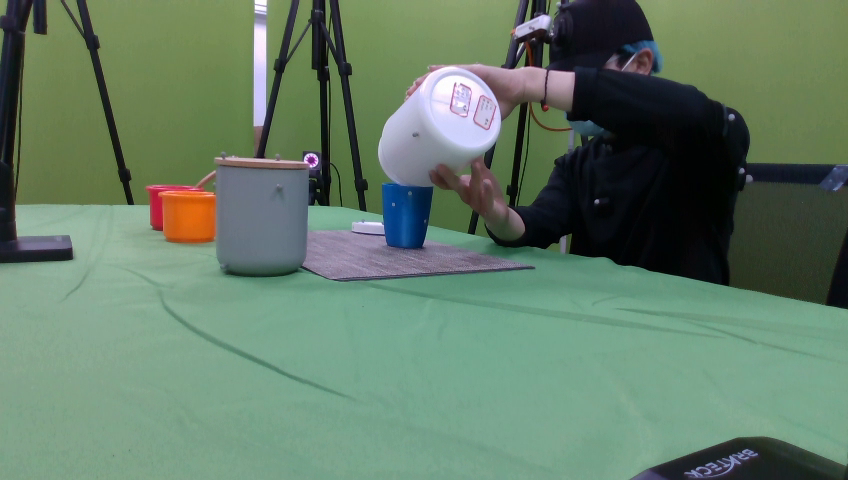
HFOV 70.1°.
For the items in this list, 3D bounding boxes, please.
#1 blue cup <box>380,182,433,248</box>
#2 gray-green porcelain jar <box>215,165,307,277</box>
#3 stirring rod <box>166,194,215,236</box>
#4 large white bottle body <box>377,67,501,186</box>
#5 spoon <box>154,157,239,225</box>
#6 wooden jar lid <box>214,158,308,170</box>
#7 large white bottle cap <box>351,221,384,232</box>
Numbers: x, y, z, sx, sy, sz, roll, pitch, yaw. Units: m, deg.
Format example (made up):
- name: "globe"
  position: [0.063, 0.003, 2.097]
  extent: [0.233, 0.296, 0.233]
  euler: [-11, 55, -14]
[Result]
- name: "blue cup"
  position: [-0.029, -0.042, 0.979]
  extent: [0.093, 0.100, 0.092]
  euler: [2, 9, 0]
- name: "gray-green porcelain jar"
  position: [-0.195, -0.024, 0.726]
  extent: [0.106, 0.126, 0.106]
  euler: [3, 7, 0]
- name: "stirring rod"
  position: [-0.341, -0.066, 0.967]
  extent: [0.176, 0.006, 0.014]
  euler: [-42, 23, -9]
- name: "large white bottle body"
  position: [0.014, -0.157, 0.898]
  extent: [0.131, 0.130, 0.184]
  euler: [-2, -13, -28]
- name: "spoon"
  position: [-0.411, -0.092, 1.105]
  extent: [0.041, 0.022, 0.194]
  euler: [13, 57, 51]
- name: "wooden jar lid"
  position: [-0.193, -0.085, 0.719]
  extent: [0.108, 0.020, 0.108]
  euler: [2, 9, 0]
- name: "large white bottle cap"
  position: [-0.082, -0.025, 1.162]
  extent: [0.115, 0.018, 0.115]
  euler: [3, 3, 0]
